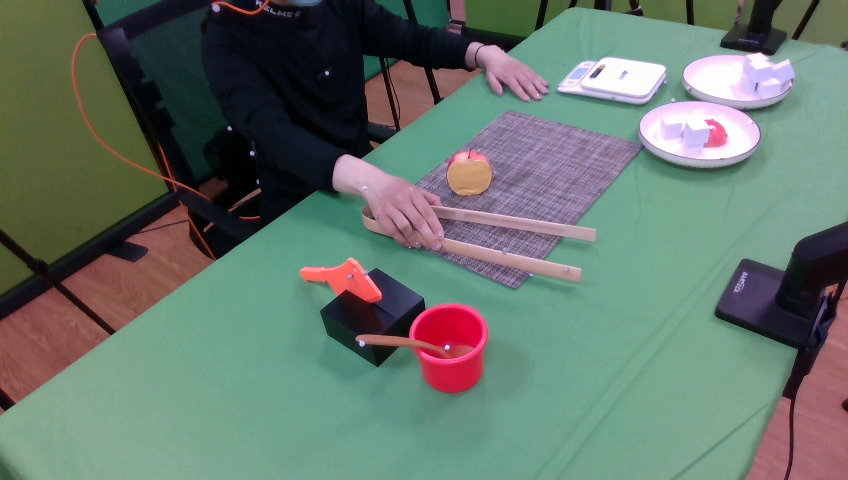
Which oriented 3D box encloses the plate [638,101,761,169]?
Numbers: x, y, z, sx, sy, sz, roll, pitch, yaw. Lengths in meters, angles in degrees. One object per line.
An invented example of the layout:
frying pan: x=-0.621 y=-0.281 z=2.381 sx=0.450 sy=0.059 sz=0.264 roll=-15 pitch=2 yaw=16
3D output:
plate: x=0.500 y=-0.189 z=1.111 sx=0.209 sy=0.038 sz=0.208 roll=-4 pitch=41 yaw=4

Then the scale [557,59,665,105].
scale: x=0.406 y=-0.348 z=1.314 sx=0.199 sy=0.032 sz=0.149 roll=19 pitch=47 yaw=28

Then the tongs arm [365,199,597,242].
tongs arm: x=0.085 y=-0.032 z=0.993 sx=0.386 sy=0.028 sz=0.028 roll=8 pitch=46 yaw=18

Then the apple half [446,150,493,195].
apple half: x=0.080 y=-0.123 z=1.065 sx=0.081 sy=0.075 sz=0.053 roll=-7 pitch=36 yaw=7

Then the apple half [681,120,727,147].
apple half: x=0.518 y=-0.202 z=1.115 sx=0.081 sy=0.033 sz=0.081 roll=-1 pitch=40 yaw=2

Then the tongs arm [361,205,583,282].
tongs arm: x=0.063 y=0.001 z=0.955 sx=0.382 sy=0.026 sz=0.051 roll=12 pitch=44 yaw=22

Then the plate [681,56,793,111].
plate: x=0.636 y=-0.317 z=1.239 sx=0.207 sy=0.039 sz=0.206 roll=-4 pitch=40 yaw=4

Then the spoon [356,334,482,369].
spoon: x=-0.001 y=0.130 z=0.731 sx=0.195 sy=0.021 sz=0.041 roll=22 pitch=28 yaw=-39

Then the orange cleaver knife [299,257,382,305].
orange cleaver knife: x=-0.124 y=0.061 z=0.872 sx=0.012 sy=0.077 sz=0.210 roll=-38 pitch=17 yaw=-29
